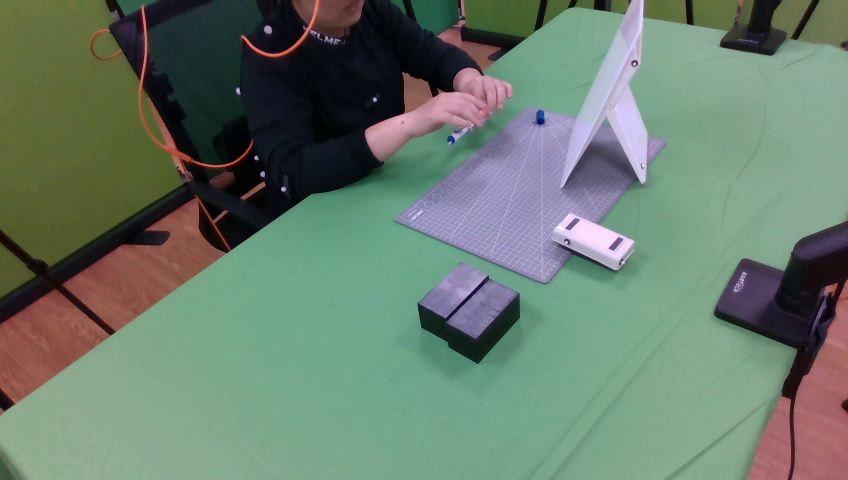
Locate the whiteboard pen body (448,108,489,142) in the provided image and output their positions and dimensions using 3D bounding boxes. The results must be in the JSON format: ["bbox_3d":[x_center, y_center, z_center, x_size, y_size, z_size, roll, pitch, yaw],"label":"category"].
[{"bbox_3d":[0.087,-0.220,1.136,0.017,0.017,0.141,19,43,28],"label":"whiteboard pen body"}]

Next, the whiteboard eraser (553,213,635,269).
[{"bbox_3d":[0.257,0.003,0.918,0.112,0.042,0.056,27,49,30],"label":"whiteboard eraser"}]

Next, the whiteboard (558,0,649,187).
[{"bbox_3d":[0.361,-0.238,1.026,0.144,0.306,0.217,21,44,3],"label":"whiteboard"}]

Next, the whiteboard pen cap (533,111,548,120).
[{"bbox_3d":[0.238,-0.255,1.238,0.018,0.018,0.033,-27,27,-22],"label":"whiteboard pen cap"}]
